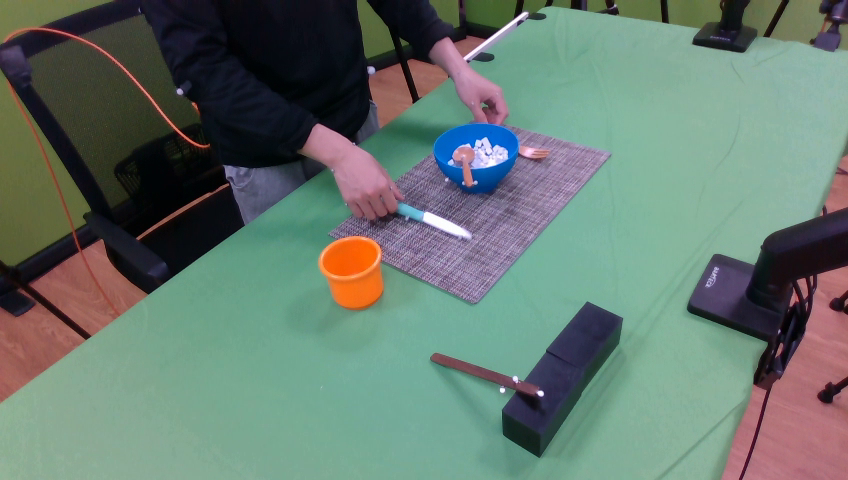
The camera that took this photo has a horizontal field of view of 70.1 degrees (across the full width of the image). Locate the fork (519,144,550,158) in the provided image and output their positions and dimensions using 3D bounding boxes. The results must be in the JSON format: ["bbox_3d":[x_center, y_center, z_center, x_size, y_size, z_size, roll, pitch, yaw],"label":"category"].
[{"bbox_3d":[0.146,-0.188,1.162,0.206,0.019,0.028,22,61,27],"label":"fork"}]

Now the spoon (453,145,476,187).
[{"bbox_3d":[0.069,-0.124,1.000,0.041,0.022,0.193,-9,21,6],"label":"spoon"}]

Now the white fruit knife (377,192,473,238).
[{"bbox_3d":[-0.003,-0.041,1.013,0.206,0.016,0.027,24,56,31],"label":"white fruit knife"}]

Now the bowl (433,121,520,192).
[{"bbox_3d":[0.094,-0.138,1.064,0.151,0.077,0.150,-4,41,4],"label":"bowl"}]

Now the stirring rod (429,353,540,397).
[{"bbox_3d":[0.069,0.162,0.737,0.174,0.006,0.014,8,42,47],"label":"stirring rod"}]
